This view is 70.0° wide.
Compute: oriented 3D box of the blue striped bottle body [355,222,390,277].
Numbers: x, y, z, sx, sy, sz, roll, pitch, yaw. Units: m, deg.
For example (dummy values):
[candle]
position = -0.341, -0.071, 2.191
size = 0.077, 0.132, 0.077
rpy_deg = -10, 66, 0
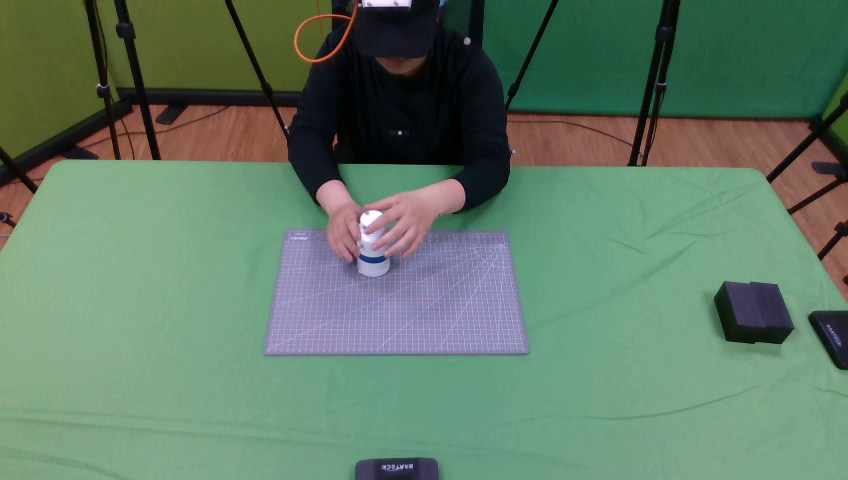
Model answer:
[blue striped bottle body]
position = -0.095, 0.007, 1.112
size = 0.063, 0.121, 0.062
rpy_deg = 2, 46, -2

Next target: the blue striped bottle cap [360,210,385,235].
[blue striped bottle cap]
position = -0.092, -0.032, 1.072
size = 0.044, 0.021, 0.044
rpy_deg = 1, 44, -1
